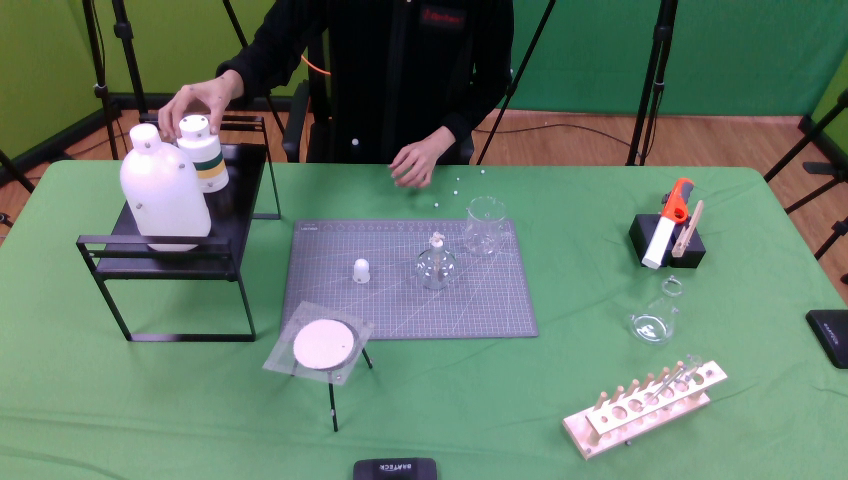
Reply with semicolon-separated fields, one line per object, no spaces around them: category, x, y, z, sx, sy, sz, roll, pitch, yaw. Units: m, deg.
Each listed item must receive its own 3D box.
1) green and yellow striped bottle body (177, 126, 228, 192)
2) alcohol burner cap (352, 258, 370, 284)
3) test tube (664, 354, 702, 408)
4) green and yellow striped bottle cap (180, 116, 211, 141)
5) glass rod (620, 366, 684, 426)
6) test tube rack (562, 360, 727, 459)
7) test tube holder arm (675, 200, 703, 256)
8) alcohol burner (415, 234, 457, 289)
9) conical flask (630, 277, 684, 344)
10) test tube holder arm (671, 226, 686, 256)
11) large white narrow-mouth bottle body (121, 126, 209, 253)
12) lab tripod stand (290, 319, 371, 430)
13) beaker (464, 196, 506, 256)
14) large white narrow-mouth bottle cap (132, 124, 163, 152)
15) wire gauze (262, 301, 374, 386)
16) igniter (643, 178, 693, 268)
green and yellow striped bottle body;-0.362;-0.142;0.988;0.063;0.120;0.063;2;46;-2
alcohol burner cap;-0.117;0.055;1.118;0.034;0.048;0.033;2;46;-2
test tube;0.385;0.215;0.906;0.017;0.151;0.017;-1;49;1
green and yellow striped bottle cap;-0.359;-0.176;0.950;0.045;0.020;0.045;2;45;-1
glass rod;0.322;0.227;0.866;0.008;0.200;0.008;5;51;-7
test tube rack;0.341;0.247;0.940;0.243;0.085;0.066;-16;49;-18
test tube holder arm;0.523;-0.025;1.190;0.013;0.015;0.178;1;36;42
alcohol burner;0.022;0.033;1.099;0.078;0.120;0.077;1;47;-1
conical flask;0.408;0.117;1.045;0.075;0.122;0.075;2;46;-2
test tube holder arm;0.494;0.001;1.167;0.010;0.015;0.087;1;36;42
large white narrow-mouth bottle body;-0.378;-0.077;0.875;0.102;0.195;0.101;3;46;-3
lab tripod stand;-0.146;0.193;0.923;0.148;0.132;0.147;1;47;-1
beaker;0.117;-0.026;1.174;0.074;0.101;0.083;21;48;15
large white narrow-mouth bottle cap;-0.371;-0.137;0.813;0.038;0.024;0.037;3;46;-3
wire gauze;-0.150;0.148;0.873;0.121;0.011;0.124;14;46;12
igniter;0.488;-0.042;1.205;0.057;0.025;0.276;30;51;11
